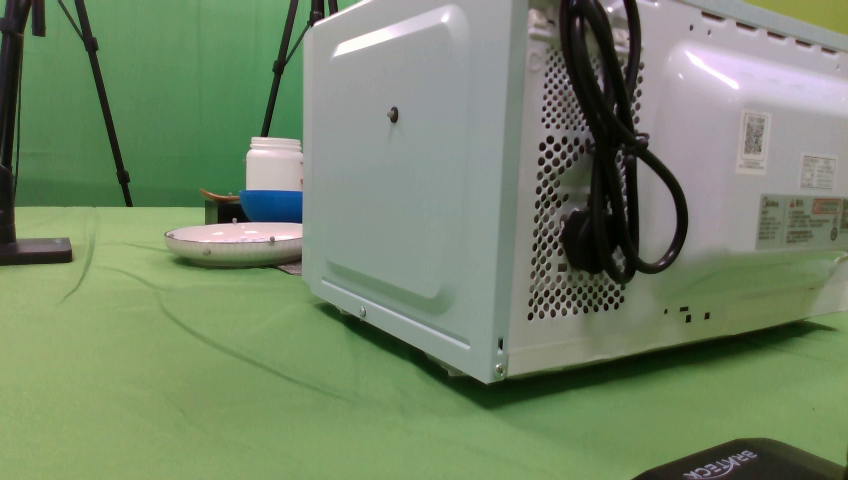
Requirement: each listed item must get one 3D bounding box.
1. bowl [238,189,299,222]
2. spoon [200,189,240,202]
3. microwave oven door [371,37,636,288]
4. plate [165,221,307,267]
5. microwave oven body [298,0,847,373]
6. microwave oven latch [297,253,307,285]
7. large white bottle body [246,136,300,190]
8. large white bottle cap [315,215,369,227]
[{"bbox_3d":[-0.245,-0.046,1.053,0.151,0.077,0.151,3,8,0],"label":"bowl"},{"bbox_3d":[-0.339,-0.080,1.190,0.194,0.021,0.041,5,1,-19],"label":"spoon"},{"bbox_3d":[0.109,-0.080,0.687,0.358,0.243,0.039,-2,9,-33],"label":"microwave oven door"},{"bbox_3d":[-0.241,0.004,0.829,0.209,0.038,0.209,0,9,0],"label":"plate"},{"bbox_3d":[0.151,-0.055,0.542,0.444,0.260,0.324,-2,7,-33],"label":"microwave oven body"},{"bbox_3d":[-0.082,0.027,0.582,0.079,0.029,0.030,-1,7,-32],"label":"microwave oven latch"},{"bbox_3d":[-0.344,-0.144,1.400,0.131,0.184,0.130,2,7,0],"label":"large white bottle body"},{"bbox_3d":[-0.177,-0.041,1.309,0.115,0.018,0.115,2,7,0],"label":"large white bottle cap"}]
